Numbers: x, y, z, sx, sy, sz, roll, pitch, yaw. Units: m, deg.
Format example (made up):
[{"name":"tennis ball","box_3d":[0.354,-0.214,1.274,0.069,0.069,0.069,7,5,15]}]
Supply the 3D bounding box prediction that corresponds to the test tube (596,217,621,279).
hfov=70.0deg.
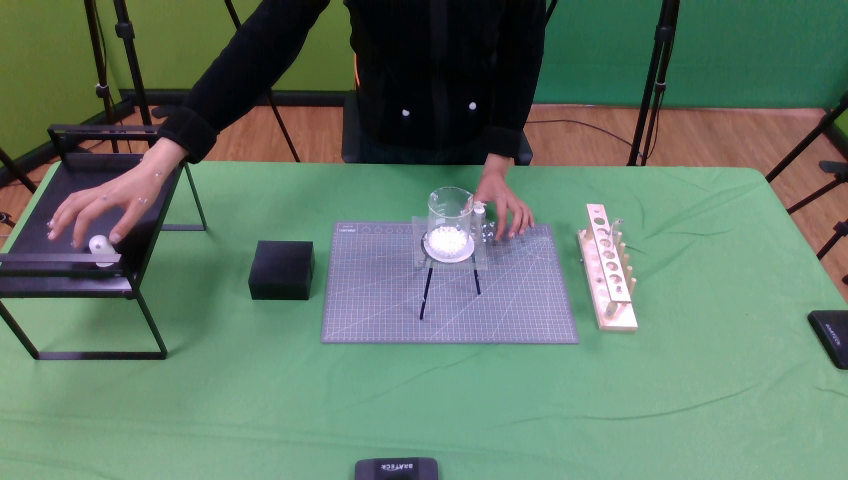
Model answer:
[{"name":"test tube","box_3d":[0.332,0.018,1.094,0.017,0.151,0.017,0,45,0]}]

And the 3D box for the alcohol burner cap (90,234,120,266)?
[{"name":"alcohol burner cap","box_3d":[-0.468,0.012,0.886,0.034,0.048,0.033,3,47,-3]}]

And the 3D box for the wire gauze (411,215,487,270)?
[{"name":"wire gauze","box_3d":[0.041,0.003,1.026,0.125,0.011,0.120,0,46,-1]}]

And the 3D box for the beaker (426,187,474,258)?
[{"name":"beaker","box_3d":[0.043,-0.027,0.989,0.084,0.101,0.073,-26,53,-26]}]

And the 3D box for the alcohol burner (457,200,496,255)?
[{"name":"alcohol burner","box_3d":[0.102,-0.029,1.167,0.078,0.120,0.077,1,46,-1]}]

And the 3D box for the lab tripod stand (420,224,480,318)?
[{"name":"lab tripod stand","box_3d":[0.034,0.051,1.071,0.148,0.132,0.147,3,48,-3]}]

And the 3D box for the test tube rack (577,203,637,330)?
[{"name":"test tube rack","box_3d":[0.348,0.045,1.139,0.067,0.085,0.241,2,46,-2]}]
